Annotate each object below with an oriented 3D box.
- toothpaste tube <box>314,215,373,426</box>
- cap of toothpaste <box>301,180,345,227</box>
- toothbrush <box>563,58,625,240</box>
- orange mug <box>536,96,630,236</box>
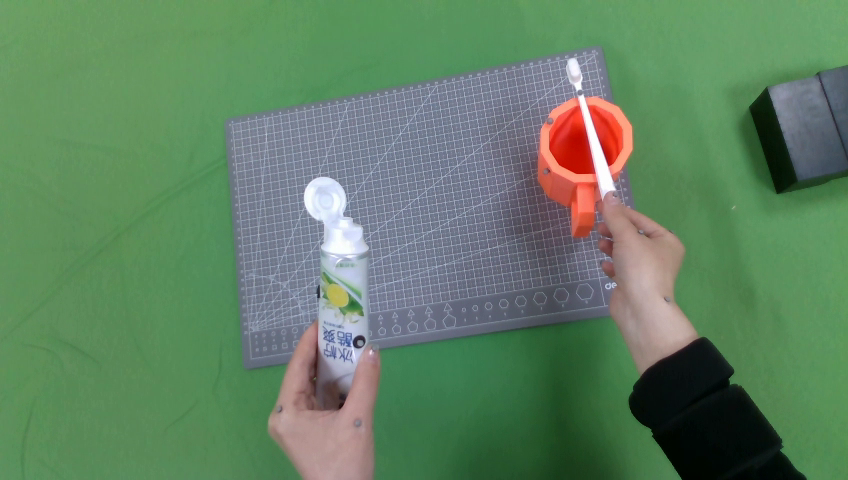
[{"bbox_3d":[-0.063,0.062,0.457,0.054,0.034,0.166,10,107,28],"label":"toothpaste tube"},{"bbox_3d":[-0.073,-0.028,0.449,0.037,0.011,0.037,5,81,-35],"label":"cap of toothpaste"},{"bbox_3d":[0.158,-0.087,0.562,0.014,0.017,0.181,-14,78,6],"label":"toothbrush"},{"bbox_3d":[0.157,-0.070,0.613,0.083,0.101,0.125,-1,75,9],"label":"orange mug"}]
